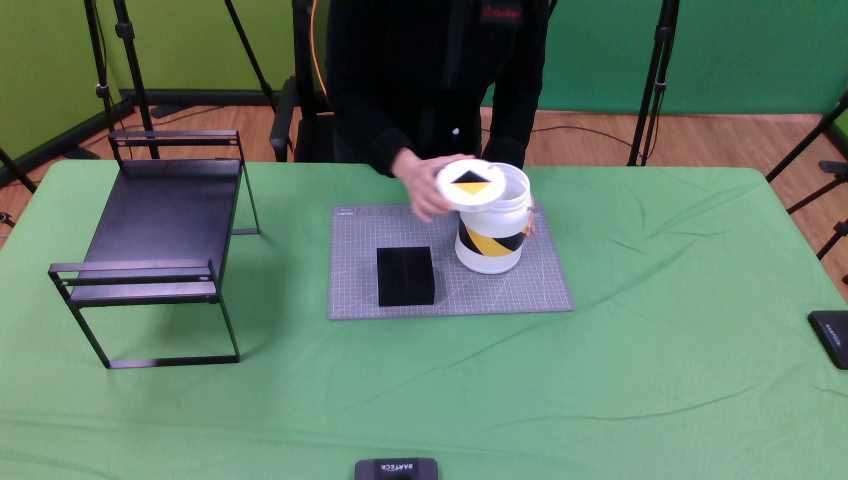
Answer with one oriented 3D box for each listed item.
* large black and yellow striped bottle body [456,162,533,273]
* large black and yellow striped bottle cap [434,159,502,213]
[{"bbox_3d":[0.130,-0.041,1.128,0.131,0.185,0.130,2,46,-2],"label":"large black and yellow striped bottle body"},{"bbox_3d":[0.074,-0.093,1.016,0.115,0.019,0.114,-1,49,1],"label":"large black and yellow striped bottle cap"}]
